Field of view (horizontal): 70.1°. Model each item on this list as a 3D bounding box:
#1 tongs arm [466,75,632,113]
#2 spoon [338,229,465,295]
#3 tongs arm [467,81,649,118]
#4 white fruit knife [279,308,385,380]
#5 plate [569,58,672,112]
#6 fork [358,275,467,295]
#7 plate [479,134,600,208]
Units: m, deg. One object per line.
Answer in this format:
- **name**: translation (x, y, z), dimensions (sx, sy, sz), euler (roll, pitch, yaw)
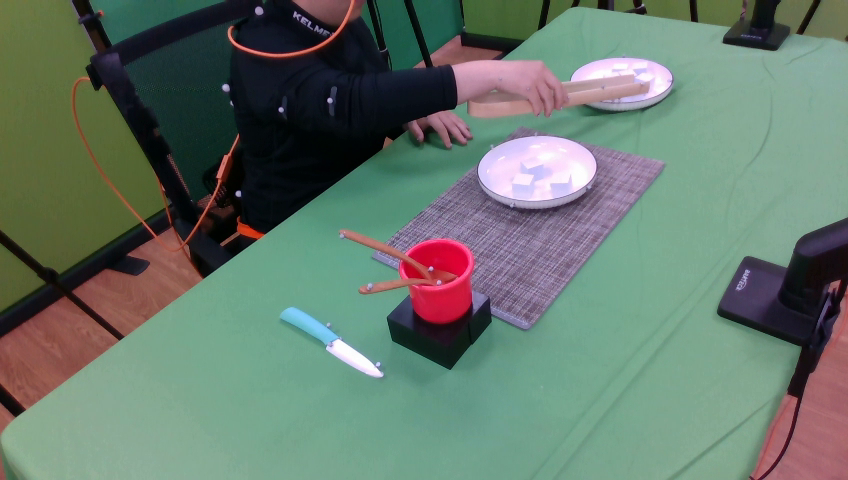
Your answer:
- **tongs arm**: translation (0.246, -0.283, 1.159), dimensions (0.390, 0.028, 0.028), euler (-13, 39, -22)
- **spoon**: translation (-0.025, 0.026, 0.776), dimensions (0.021, 0.195, 0.041), euler (-41, 34, 32)
- **tongs arm**: translation (0.259, -0.268, 1.134), dimensions (0.387, 0.026, 0.050), euler (-14, 35, -23)
- **white fruit knife**: translation (-0.130, 0.143, 0.845), dimensions (0.205, 0.016, 0.027), euler (25, 79, 32)
- **plate**: translation (0.411, -0.323, 1.274), dimensions (0.209, 0.038, 0.208), euler (-5, 41, 5)
- **fork**: translation (-0.009, 0.056, 0.739), dimensions (0.028, 0.018, 0.209), euler (48, 23, 26)
- **plate**: translation (0.202, -0.117, 1.065), dimensions (0.207, 0.039, 0.206), euler (-5, 40, 5)
